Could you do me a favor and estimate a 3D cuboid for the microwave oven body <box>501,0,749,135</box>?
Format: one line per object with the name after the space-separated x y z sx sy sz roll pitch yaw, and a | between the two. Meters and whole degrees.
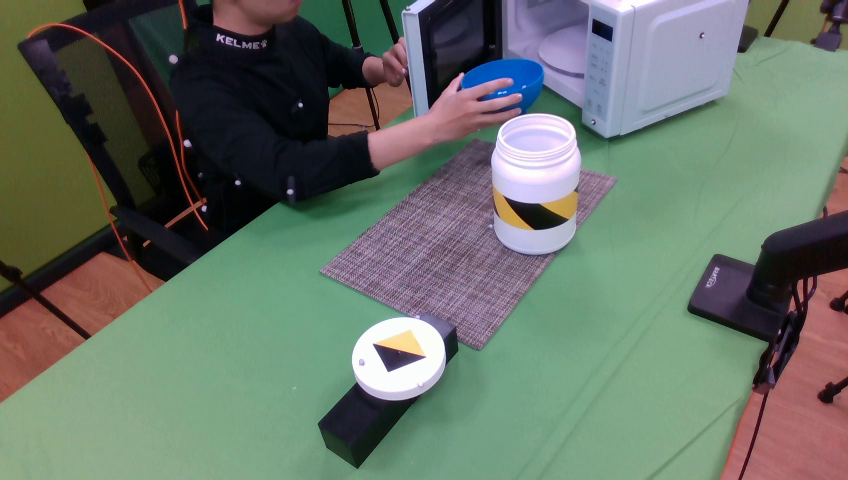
0.382 -0.444 1.246 0.327 0.261 0.437 -22 42 -16 | microwave oven body

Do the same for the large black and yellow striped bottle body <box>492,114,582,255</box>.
0.169 -0.084 0.912 0.131 0.185 0.130 -4 41 4 | large black and yellow striped bottle body

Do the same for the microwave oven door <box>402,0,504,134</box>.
0.073 -0.411 1.243 0.039 0.245 0.356 17 46 26 | microwave oven door

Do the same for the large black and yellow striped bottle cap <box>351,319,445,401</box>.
-0.031 0.143 0.734 0.115 0.019 0.114 -3 40 3 | large black and yellow striped bottle cap

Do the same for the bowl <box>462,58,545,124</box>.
0.149 -0.265 1.106 0.151 0.077 0.150 -9 37 7 | bowl

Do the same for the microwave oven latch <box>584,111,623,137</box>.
0.337 -0.222 1.142 0.030 0.029 0.078 -21 42 -14 | microwave oven latch
